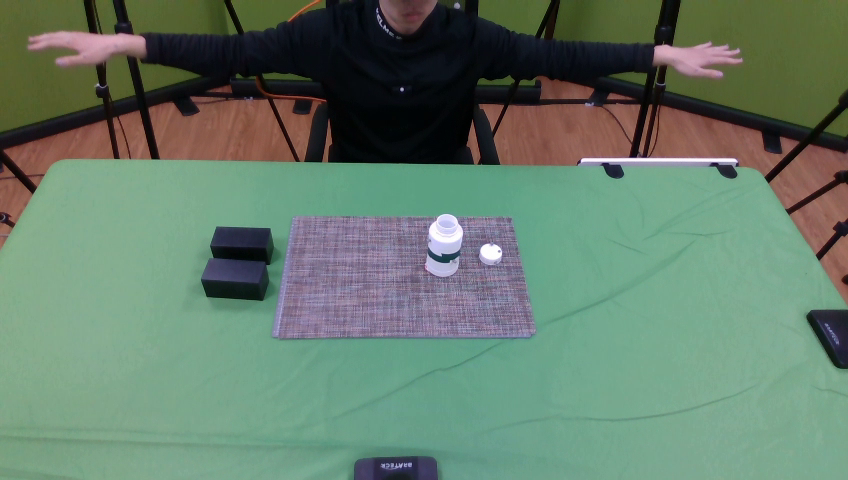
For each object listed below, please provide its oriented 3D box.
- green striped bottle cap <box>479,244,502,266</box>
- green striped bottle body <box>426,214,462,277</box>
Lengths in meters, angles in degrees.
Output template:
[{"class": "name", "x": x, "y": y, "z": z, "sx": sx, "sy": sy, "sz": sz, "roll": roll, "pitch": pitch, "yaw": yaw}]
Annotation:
[{"class": "green striped bottle cap", "x": 0.130, "y": 0.029, "z": 1.181, "sx": 0.044, "sy": 0.020, "sz": 0.044, "roll": 0, "pitch": 46, "yaw": 0}, {"class": "green striped bottle body", "x": 0.037, "y": 0.008, "z": 1.121, "sx": 0.063, "sy": 0.120, "sz": 0.063, "roll": 2, "pitch": 46, "yaw": -2}]
